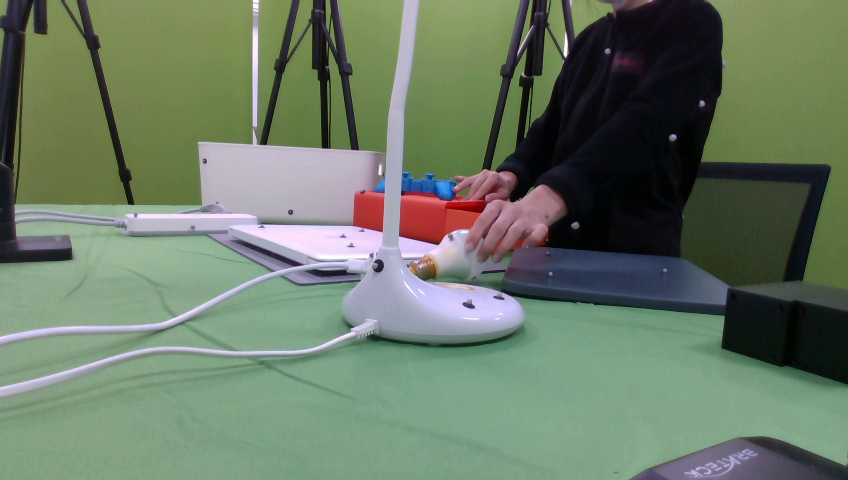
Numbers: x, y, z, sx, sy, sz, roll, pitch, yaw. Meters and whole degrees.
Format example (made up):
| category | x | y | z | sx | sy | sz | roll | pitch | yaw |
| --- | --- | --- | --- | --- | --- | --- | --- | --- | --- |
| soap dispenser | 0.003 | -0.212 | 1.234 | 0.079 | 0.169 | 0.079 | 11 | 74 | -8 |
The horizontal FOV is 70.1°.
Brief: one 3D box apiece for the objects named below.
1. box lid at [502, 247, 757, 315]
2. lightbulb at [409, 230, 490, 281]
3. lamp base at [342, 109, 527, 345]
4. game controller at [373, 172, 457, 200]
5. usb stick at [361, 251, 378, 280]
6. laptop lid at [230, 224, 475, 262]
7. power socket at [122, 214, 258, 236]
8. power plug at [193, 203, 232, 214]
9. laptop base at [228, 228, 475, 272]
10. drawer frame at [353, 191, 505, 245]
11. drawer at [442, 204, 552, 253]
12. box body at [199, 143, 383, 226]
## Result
| category | x | y | z | sx | sy | sz | roll | pitch | yaw |
| --- | --- | --- | --- | --- | --- | --- | --- | --- | --- |
| box lid | 0.244 | 0.044 | 0.793 | 0.263 | 0.015 | 0.372 | 4 | 6 | 11 |
| lightbulb | 0.027 | 0.025 | 0.694 | 0.108 | 0.059 | 0.059 | -19 | 18 | -30 |
| lamp base | 0.006 | -0.015 | 0.505 | 0.160 | 0.180 | 0.180 | 6 | 11 | 29 |
| game controller | -0.011 | -0.101 | 1.150 | 0.155 | 0.051 | 0.097 | 6 | 4 | 12 |
| usb stick | -0.051 | 0.033 | 0.656 | 0.027 | 0.021 | 0.059 | 4 | -27 | -21 |
| laptop lid | -0.119 | 0.000 | 0.889 | 0.243 | 0.013 | 0.355 | 1 | 7 | -33 |
| power socket | -0.398 | -0.028 | 1.049 | 0.228 | 0.032 | 0.072 | -3 | 8 | -34 |
| power plug | -0.394 | -0.042 | 1.139 | 0.072 | 0.052 | 0.035 | -14 | 1 | 31 |
| laptop base | -0.122 | 0.011 | 0.889 | 0.237 | 0.023 | 0.352 | 2 | 6 | -35 |
| drawer frame | 0.011 | -0.048 | 1.143 | 0.212 | 0.082 | 0.203 | 9 | 9 | 35 |
| drawer | 0.092 | -0.032 | 1.084 | 0.210 | 0.073 | 0.195 | 8 | 10 | 37 |
| box body | -0.276 | -0.124 | 1.335 | 0.364 | 0.160 | 0.254 | 3 | 7 | 1 |
